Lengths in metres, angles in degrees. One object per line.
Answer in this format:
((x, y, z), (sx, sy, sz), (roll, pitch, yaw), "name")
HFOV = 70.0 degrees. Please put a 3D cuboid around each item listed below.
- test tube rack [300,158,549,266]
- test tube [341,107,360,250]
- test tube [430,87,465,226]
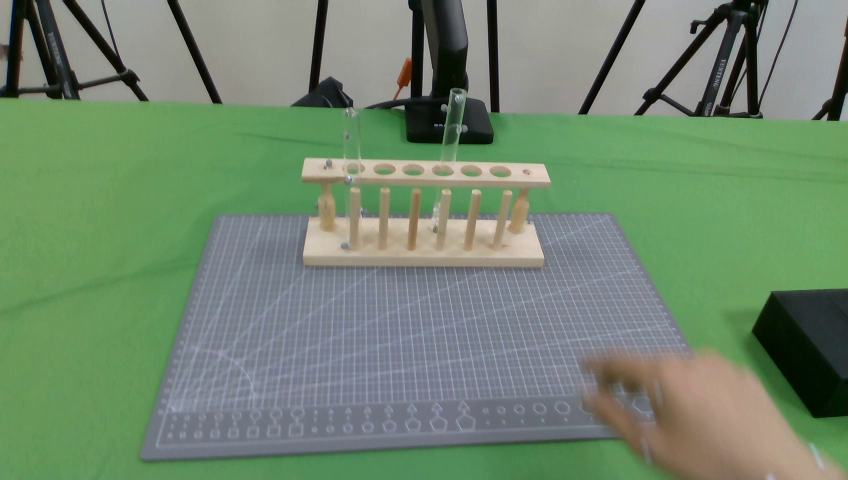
((0.000, -0.027, 0.610), (0.243, 0.086, 0.066), (1, 38, -5), "test tube rack")
((-0.068, -0.053, 0.563), (0.017, 0.152, 0.017), (3, 37, -2), "test tube")
((0.022, -0.077, 0.595), (0.017, 0.151, 0.017), (6, 36, -4), "test tube")
